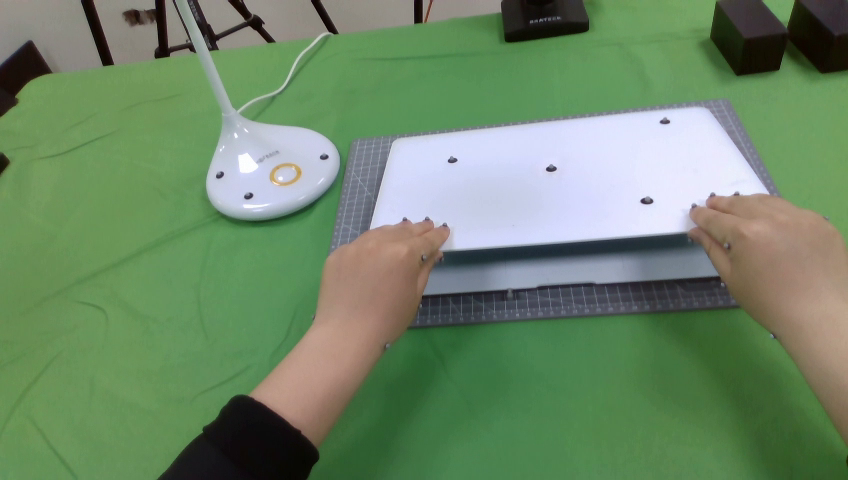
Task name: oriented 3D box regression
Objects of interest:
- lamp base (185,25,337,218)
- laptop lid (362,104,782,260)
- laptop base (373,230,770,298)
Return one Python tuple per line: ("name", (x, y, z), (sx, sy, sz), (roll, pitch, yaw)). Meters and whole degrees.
("lamp base", (-0.204, -0.141, 0.677), (0.177, 0.182, 0.160), (27, 57, 35))
("laptop lid", (0.125, -0.066, 0.597), (0.356, 0.013, 0.239), (-4, 36, 9))
("laptop base", (0.130, -0.041, 0.621), (0.354, 0.023, 0.233), (-5, 49, 8))
